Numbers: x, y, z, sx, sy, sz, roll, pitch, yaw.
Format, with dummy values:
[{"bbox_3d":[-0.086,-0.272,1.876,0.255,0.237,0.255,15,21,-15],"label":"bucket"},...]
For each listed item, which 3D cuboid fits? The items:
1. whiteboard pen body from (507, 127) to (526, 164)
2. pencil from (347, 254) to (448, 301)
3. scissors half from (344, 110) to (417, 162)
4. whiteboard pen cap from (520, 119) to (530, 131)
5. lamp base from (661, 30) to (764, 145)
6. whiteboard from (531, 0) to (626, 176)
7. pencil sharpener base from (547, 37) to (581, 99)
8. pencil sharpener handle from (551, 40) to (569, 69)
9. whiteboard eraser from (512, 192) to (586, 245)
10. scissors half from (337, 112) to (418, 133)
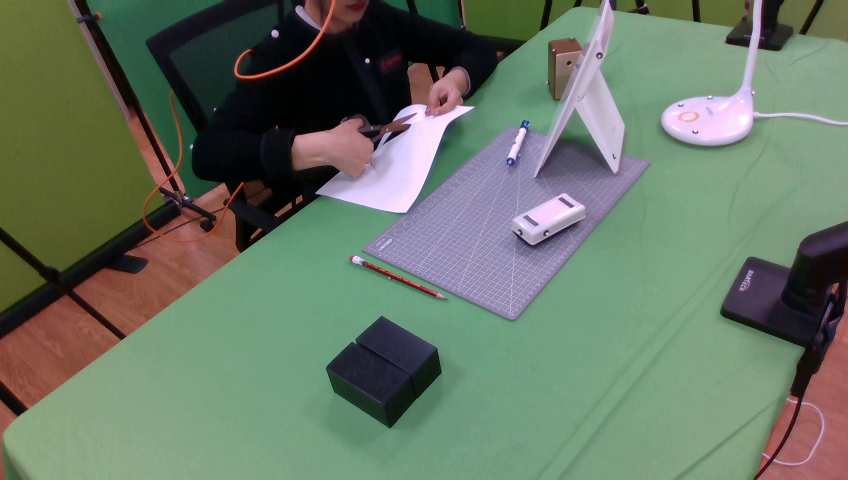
[{"bbox_3d":[0.181,-0.189,1.163,0.017,0.017,0.140,7,42,19],"label":"whiteboard pen body"},{"bbox_3d":[-0.044,0.058,0.933,0.192,0.012,0.012,22,49,28],"label":"pencil"},{"bbox_3d":[-0.081,-0.206,1.178,0.175,0.040,0.012,-39,37,-14],"label":"scissors half"},{"bbox_3d":[0.200,-0.226,1.204,0.018,0.018,0.033,6,41,17],"label":"whiteboard pen cap"},{"bbox_3d":[0.535,-0.287,1.096,0.179,0.181,0.159,-10,40,-4],"label":"lamp base"},{"bbox_3d":[0.320,-0.258,1.050,0.144,0.306,0.217,22,45,5],"label":"whiteboard"},{"bbox_3d":[0.300,-0.368,1.290,0.061,0.107,0.076,-8,40,2],"label":"pencil sharpener base"},{"bbox_3d":[0.292,-0.409,1.321,0.036,0.068,0.030,2,40,-6],"label":"pencil sharpener handle"},{"bbox_3d":[0.199,-0.032,0.962,0.113,0.042,0.055,-27,43,-20],"label":"whiteboard eraser"},{"bbox_3d":[-0.085,-0.226,1.166,0.176,0.040,0.012,-6,28,-34],"label":"scissors half"}]
